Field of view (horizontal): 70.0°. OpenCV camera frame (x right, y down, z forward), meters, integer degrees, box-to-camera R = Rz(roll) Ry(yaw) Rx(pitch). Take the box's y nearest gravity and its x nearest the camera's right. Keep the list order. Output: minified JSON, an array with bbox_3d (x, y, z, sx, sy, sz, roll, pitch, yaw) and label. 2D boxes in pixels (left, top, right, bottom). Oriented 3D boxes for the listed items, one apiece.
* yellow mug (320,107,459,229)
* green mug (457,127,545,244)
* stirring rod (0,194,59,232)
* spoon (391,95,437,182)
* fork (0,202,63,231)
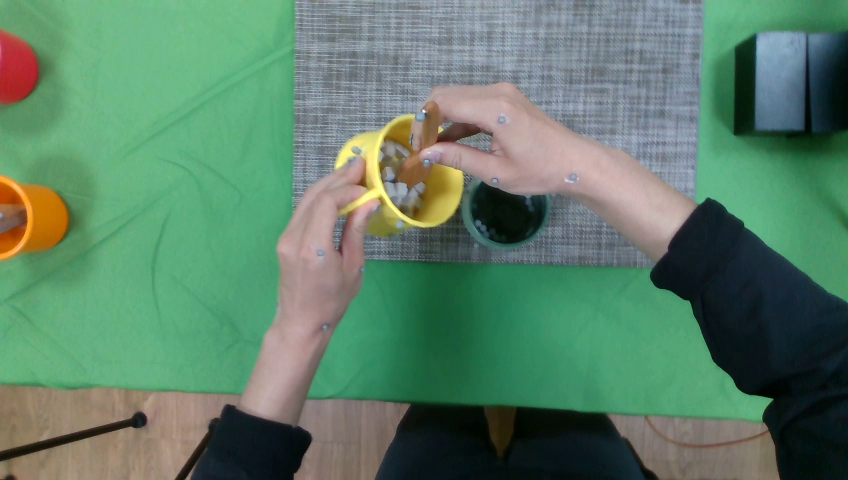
[{"bbox_3d":[-0.036,-0.055,0.534,0.131,0.063,0.100,-35,108,-37],"label":"yellow mug"},{"bbox_3d":[0.085,-0.056,0.631,0.092,0.105,0.125,18,94,3],"label":"green mug"},{"bbox_3d":[-0.482,-0.005,0.652,0.014,0.006,0.176,52,53,-2],"label":"stirring rod"},{"bbox_3d":[-0.004,-0.076,0.478,0.041,0.193,0.021,-33,90,-9],"label":"spoon"},{"bbox_3d":[-0.503,-0.042,0.645,0.209,0.018,0.028,16,91,-41],"label":"fork"}]
